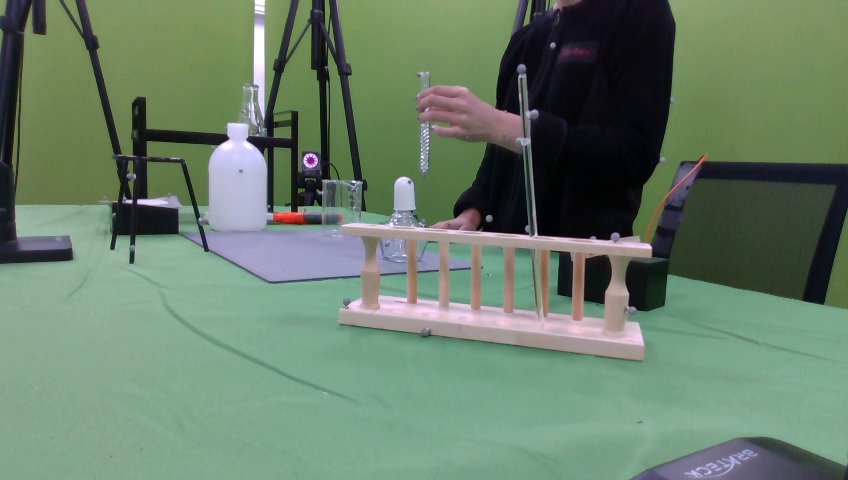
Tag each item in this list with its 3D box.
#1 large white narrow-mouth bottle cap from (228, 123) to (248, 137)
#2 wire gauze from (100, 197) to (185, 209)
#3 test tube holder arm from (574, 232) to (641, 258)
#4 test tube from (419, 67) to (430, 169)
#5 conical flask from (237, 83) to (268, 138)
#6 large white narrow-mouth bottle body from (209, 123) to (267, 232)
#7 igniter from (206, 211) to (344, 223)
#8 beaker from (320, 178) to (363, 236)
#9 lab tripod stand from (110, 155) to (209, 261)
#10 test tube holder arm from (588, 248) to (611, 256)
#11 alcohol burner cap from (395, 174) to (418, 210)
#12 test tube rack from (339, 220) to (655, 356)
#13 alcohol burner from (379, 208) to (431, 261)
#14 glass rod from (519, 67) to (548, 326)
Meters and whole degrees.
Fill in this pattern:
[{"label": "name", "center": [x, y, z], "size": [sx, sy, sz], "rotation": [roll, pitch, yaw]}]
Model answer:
[{"label": "large white narrow-mouth bottle cap", "center": [-0.338, -0.199, 1.097], "size": [0.038, 0.024, 0.037], "rotation": [2, 8, 0]}, {"label": "wire gauze", "center": [-0.469, -0.062, 1.008], "size": [0.126, 0.011, 0.121], "rotation": [-2, 8, -25]}, {"label": "test tube holder arm", "center": [0.202, 0.003, 0.651], "size": [0.013, 0.015, 0.179], "rotation": [-3, 2, 36]}, {"label": "test tube", "center": [0.001, -0.183, 0.913], "size": [0.017, 0.150, 0.017], "rotation": [1, 8, 0]}, {"label": "conical flask", "center": [-0.402, -0.299, 1.406], "size": [0.075, 0.122, 0.075], "rotation": [2, 7, 0]}, {"label": "large white narrow-mouth bottle body", "center": [-0.340, -0.115, 1.109], "size": [0.102, 0.194, 0.102], "rotation": [2, 8, 0]}, {"label": "igniter", "center": [-0.302, -0.048, 1.249], "size": [0.278, 0.025, 0.057], "rotation": [-2, -2, -26]}, {"label": "beaker", "center": [-0.145, -0.059, 1.079], "size": [0.074, 0.100, 0.083], "rotation": [-4, 10, -36]}, {"label": "lab tripod stand", "center": [-0.361, -0.046, 0.806], "size": [0.148, 0.131, 0.148], "rotation": [2, 5, 0]}, {"label": "test tube holder arm", "center": [0.180, 0.006, 0.611], "size": [0.010, 0.015, 0.088], "rotation": [-3, 2, 36]}, {"label": "alcohol burner cap", "center": [-0.026, -0.067, 0.834], "size": [0.034, 0.048, 0.034], "rotation": [-1, 12, 1]}, {"label": "test tube rack", "center": [0.056, 0.032, 0.495], "size": [0.242, 0.085, 0.067], "rotation": [4, 7, 15]}, {"label": "alcohol burner", "center": [-0.027, -0.031, 0.838], "size": [0.078, 0.119, 0.078], "rotation": [0, 6, 0]}, {"label": "glass rod", "center": [0.084, -0.029, 0.459], "size": [0.008, 0.199, 0.008], "rotation": [-7, 11, 2]}]
